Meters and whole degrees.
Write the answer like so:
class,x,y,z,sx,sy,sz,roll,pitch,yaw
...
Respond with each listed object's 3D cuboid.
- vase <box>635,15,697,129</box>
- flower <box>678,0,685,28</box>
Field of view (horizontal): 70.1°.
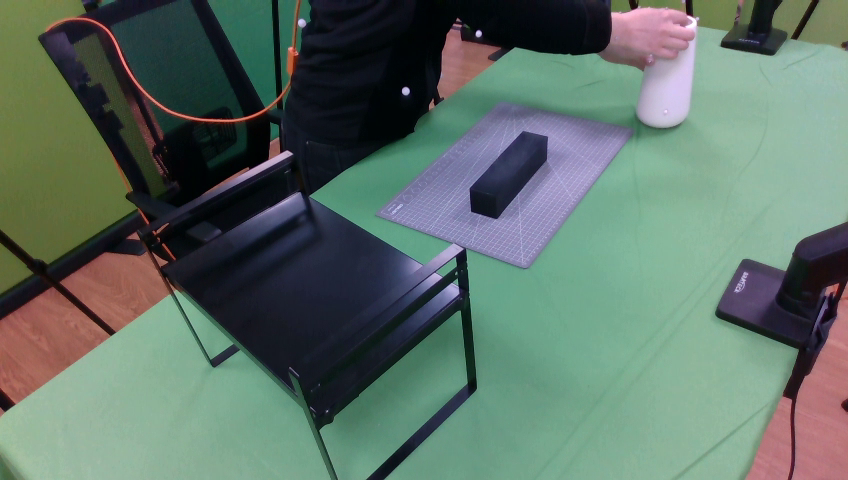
class,x,y,z,sx,sy,sz,roll,pitch,yaw
vase,0.457,-0.310,1.133,0.098,0.201,0.097,-4,42,4
flower,0.450,-0.364,1.060,0.038,0.364,0.043,-37,54,-7
